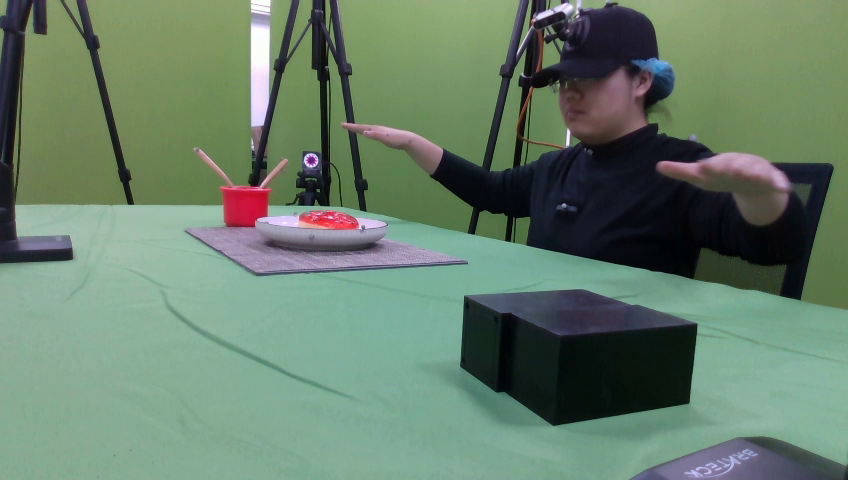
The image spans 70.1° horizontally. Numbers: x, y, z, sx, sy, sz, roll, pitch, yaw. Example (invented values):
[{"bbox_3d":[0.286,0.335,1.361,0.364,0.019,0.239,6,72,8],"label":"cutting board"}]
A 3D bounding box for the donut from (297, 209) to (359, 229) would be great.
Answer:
[{"bbox_3d":[-0.151,-0.023,0.955,0.099,0.048,0.099,6,7,0],"label":"donut"}]

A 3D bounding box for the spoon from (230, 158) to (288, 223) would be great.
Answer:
[{"bbox_3d":[-0.322,-0.101,1.206,0.041,0.022,0.194,13,55,22],"label":"spoon"}]

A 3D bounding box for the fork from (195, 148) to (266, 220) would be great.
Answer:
[{"bbox_3d":[-0.386,-0.110,1.199,0.028,0.207,0.018,-38,-6,-39],"label":"fork"}]

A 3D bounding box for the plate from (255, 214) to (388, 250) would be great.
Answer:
[{"bbox_3d":[-0.161,-0.013,0.961,0.209,0.038,0.209,2,7,0],"label":"plate"}]
